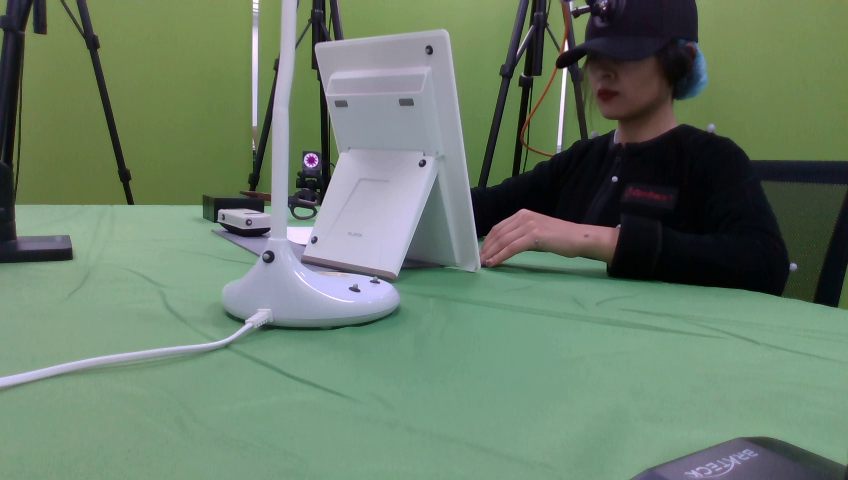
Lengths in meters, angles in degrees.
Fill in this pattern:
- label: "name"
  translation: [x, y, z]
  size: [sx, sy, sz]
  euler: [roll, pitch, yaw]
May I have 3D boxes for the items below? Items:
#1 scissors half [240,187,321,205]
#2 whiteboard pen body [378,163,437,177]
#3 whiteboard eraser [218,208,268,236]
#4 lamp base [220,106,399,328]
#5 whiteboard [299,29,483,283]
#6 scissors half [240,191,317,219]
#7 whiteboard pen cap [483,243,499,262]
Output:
- label: "scissors half"
  translation: [-0.311, -0.097, 1.319]
  size: [0.176, 0.040, 0.012]
  euler: [-1, 30, -25]
- label: "whiteboard pen body"
  translation: [-0.023, -0.102, 0.880]
  size: [0.017, 0.017, 0.141]
  euler: [7, 13, 33]
- label: "whiteboard eraser"
  translation: [-0.309, -0.031, 1.044]
  size: [0.056, 0.042, 0.112]
  euler: [-2, 9, -40]
- label: "lamp base"
  translation: [-0.101, -0.023, 0.531]
  size: [0.160, 0.180, 0.179]
  euler: [4, 10, 10]
- label: "whiteboard"
  translation: [-0.074, -0.082, 0.742]
  size: [0.216, 0.305, 0.144]
  euler: [9, 29, 38]
- label: "scissors half"
  translation: [-0.317, -0.079, 1.326]
  size: [0.176, 0.040, 0.013]
  euler: [18, 15, -31]
- label: "whiteboard pen cap"
  translation: [0.095, 0.017, 0.866]
  size: [0.018, 0.018, 0.033]
  euler: [1, 23, -12]
